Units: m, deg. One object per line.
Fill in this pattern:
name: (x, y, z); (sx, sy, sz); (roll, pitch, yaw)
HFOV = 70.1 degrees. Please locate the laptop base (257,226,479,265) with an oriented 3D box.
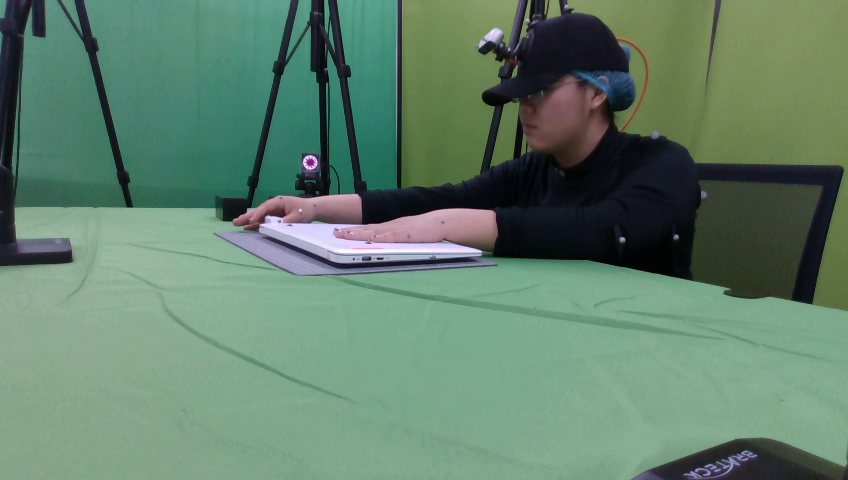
laptop base: (-0.102, 0.007, 0.962); (0.237, 0.023, 0.352); (2, 6, -32)

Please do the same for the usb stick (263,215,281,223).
usb stick: (-0.269, -0.028, 1.080); (0.021, 0.027, 0.059); (-5, 14, -29)

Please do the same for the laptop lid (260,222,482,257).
laptop lid: (-0.100, -0.004, 0.962); (0.243, 0.013, 0.355); (2, 7, -30)
